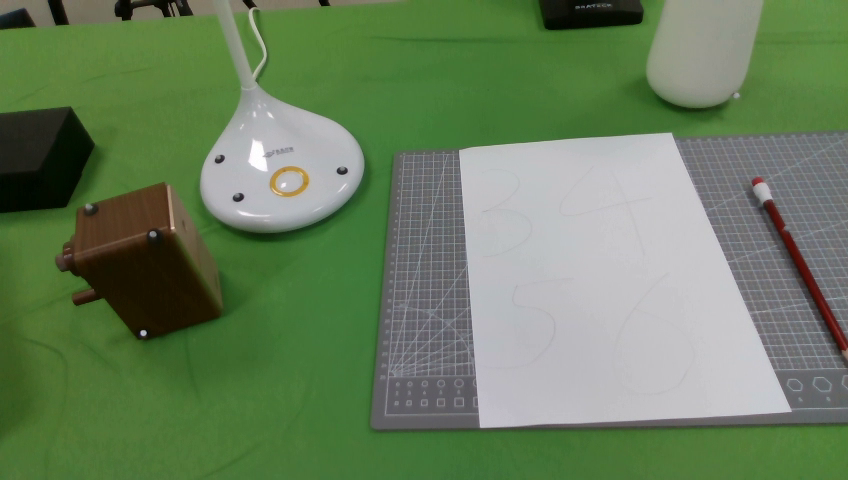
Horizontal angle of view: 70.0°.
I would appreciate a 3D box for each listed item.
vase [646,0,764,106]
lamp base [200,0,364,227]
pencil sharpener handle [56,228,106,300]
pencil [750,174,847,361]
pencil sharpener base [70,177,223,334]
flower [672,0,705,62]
[{"bbox_3d":[0.276,-0.230,0.578,0.098,0.202,0.097,-4,48,4],"label":"vase"},{"bbox_3d":[-0.152,-0.132,0.547,0.161,0.182,0.177,-26,49,-16],"label":"lamp base"},{"bbox_3d":[-0.263,0.022,0.457,0.031,0.068,0.035,-18,54,-9],"label":"pencil sharpener handle"},{"bbox_3d":[0.300,0.017,0.484,0.012,0.012,0.192,-4,51,3],"label":"pencil"},{"bbox_3d":[-0.213,0.016,0.474,0.077,0.108,0.060,-18,50,-9],"label":"pencil sharpener base"},{"bbox_3d":[0.262,-0.268,0.502,0.044,0.364,0.038,41,77,18],"label":"flower"}]
